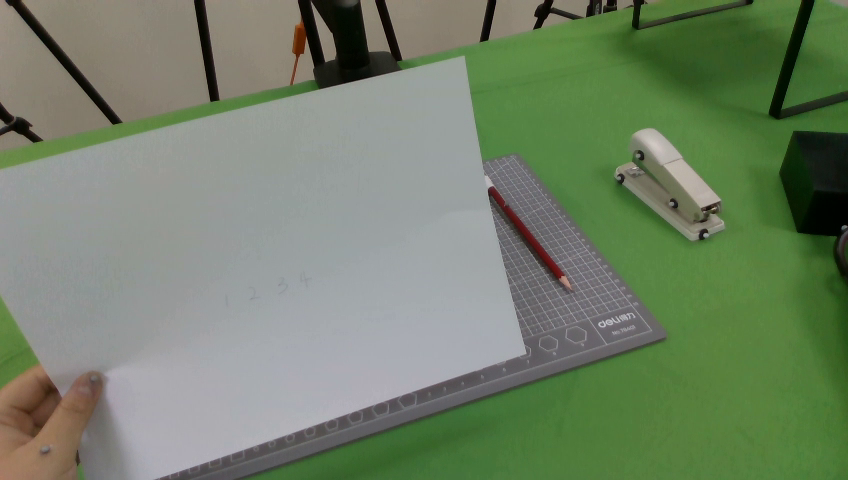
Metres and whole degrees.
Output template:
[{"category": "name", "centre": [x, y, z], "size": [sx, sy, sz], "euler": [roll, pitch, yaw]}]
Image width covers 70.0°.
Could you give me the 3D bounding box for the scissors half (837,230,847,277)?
[{"category": "scissors half", "centre": [0.377, -0.035, 0.517], "size": [0.040, 0.013, 0.174], "euler": [14, 67, 10]}]

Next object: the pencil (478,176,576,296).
[{"category": "pencil", "centre": [0.097, -0.009, 0.594], "size": [0.012, 0.012, 0.191], "euler": [-18, 44, -13]}]

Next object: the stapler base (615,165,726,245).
[{"category": "stapler base", "centre": [0.245, -0.046, 0.610], "size": [0.041, 0.025, 0.129], "euler": [-21, 44, -12]}]

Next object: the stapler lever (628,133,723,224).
[{"category": "stapler lever", "centre": [0.243, -0.064, 0.592], "size": [0.027, 0.040, 0.116], "euler": [-21, 44, -12]}]
